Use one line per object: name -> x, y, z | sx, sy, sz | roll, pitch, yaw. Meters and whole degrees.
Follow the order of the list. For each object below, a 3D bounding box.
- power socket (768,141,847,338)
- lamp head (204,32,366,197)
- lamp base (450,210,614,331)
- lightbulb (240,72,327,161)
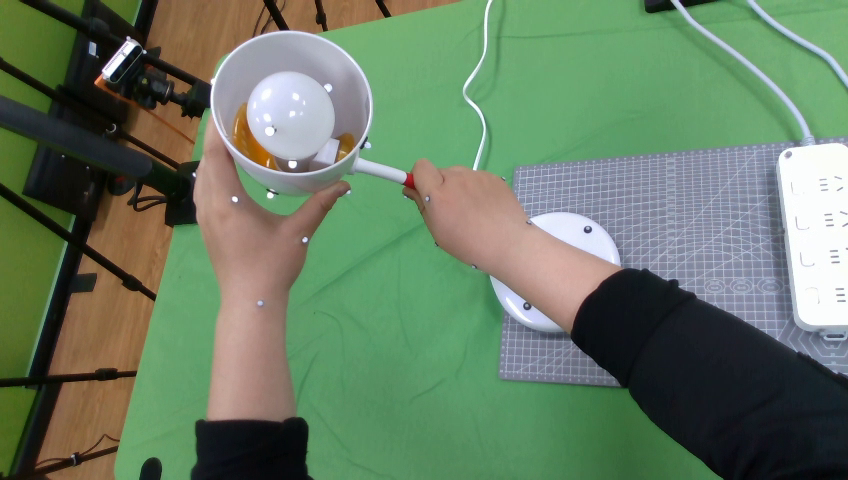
power socket -> 0.427, -0.008, 0.659 | 0.072, 0.033, 0.225 | -4, 68, 22
lamp head -> -0.102, -0.082, 0.476 | 0.112, 0.123, 0.112 | 2, 74, -6
lamp base -> 0.115, 0.011, 0.706 | 0.178, 0.182, 0.159 | -9, 66, 25
lightbulb -> -0.103, -0.083, 0.450 | 0.060, 0.107, 0.059 | 2, 80, -12
